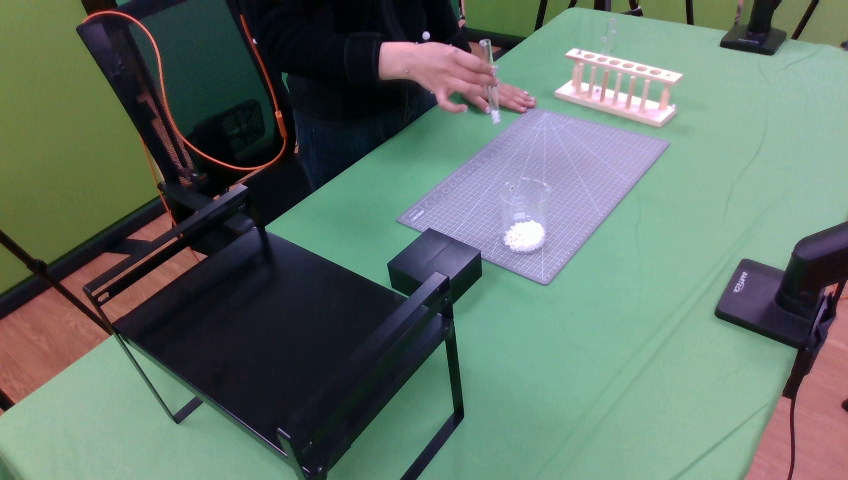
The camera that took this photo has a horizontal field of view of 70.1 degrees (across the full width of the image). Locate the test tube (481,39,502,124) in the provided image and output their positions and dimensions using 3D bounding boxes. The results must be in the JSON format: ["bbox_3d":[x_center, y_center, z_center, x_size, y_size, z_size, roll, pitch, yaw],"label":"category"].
[{"bbox_3d":[0.109,-0.252,0.973,0.017,0.151,0.017,-9,43,9],"label":"test tube"}]

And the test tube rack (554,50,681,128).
[{"bbox_3d":[0.387,-0.311,1.234,0.240,0.085,0.067,28,52,35],"label":"test tube rack"}]

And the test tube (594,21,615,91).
[{"bbox_3d":[0.366,-0.372,1.233,0.017,0.151,0.017,0,43,0],"label":"test tube"}]

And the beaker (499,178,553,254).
[{"bbox_3d":[0.157,-0.036,0.929,0.084,0.100,0.073,-16,41,-12],"label":"beaker"}]
